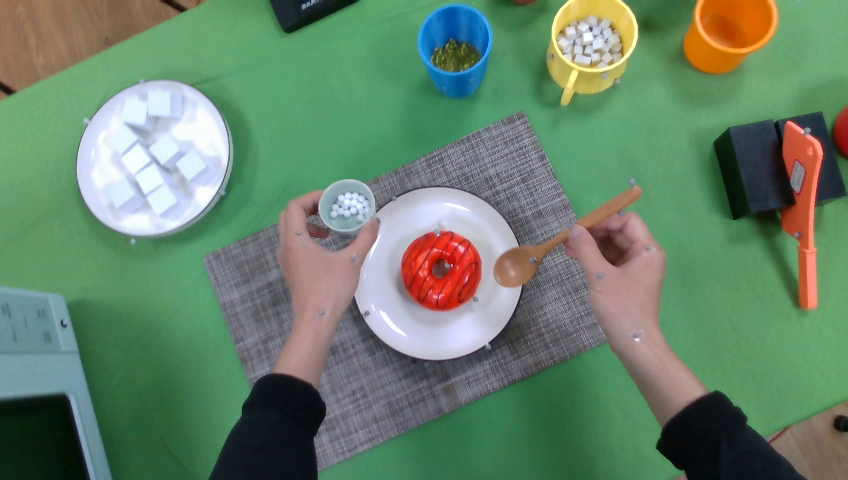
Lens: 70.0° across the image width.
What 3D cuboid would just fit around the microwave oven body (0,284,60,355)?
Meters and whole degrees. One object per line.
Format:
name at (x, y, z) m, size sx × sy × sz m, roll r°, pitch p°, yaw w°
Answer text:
microwave oven body at (-0.546, 0.301, 0.630) m, size 0.326 × 0.261 × 0.440 m, roll -22°, pitch 80°, yaw 2°

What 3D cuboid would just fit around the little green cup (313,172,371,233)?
little green cup at (-0.086, -0.039, 0.661) m, size 0.061 × 0.039 × 0.061 m, roll -2°, pitch 57°, yaw 4°

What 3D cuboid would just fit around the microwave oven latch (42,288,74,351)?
microwave oven latch at (-0.462, 0.100, 0.749) m, size 0.030 × 0.029 × 0.079 m, roll -20°, pitch 81°, yaw 2°

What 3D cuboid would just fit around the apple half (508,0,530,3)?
apple half at (0.109, -0.336, 0.758) m, size 0.053 × 0.075 × 0.080 m, roll -20°, pitch 83°, yaw 6°

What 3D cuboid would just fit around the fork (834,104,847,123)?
fork at (0.554, -0.129, 0.645) m, size 0.205 × 0.019 × 0.028 m, roll 19°, pitch 68°, yaw 51°

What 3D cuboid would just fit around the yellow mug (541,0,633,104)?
yellow mug at (0.190, -0.227, 0.737) m, size 0.100 × 0.064 × 0.130 m, roll 23°, pitch 85°, yaw 8°

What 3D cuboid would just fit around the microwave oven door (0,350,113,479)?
microwave oven door at (-0.397, 0.286, 0.612) m, size 0.039 × 0.245 × 0.354 m, roll -22°, pitch 79°, yaw 2°

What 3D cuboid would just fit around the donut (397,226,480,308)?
donut at (0.017, 0.032, 0.714) m, size 0.099 × 0.048 × 0.098 m, roll -1°, pitch 82°, yaw 7°

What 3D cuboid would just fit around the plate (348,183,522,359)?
plate at (0.014, 0.036, 0.726) m, size 0.209 × 0.038 × 0.208 m, roll -1°, pitch 81°, yaw 6°

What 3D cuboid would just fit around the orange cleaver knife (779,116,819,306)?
orange cleaver knife at (0.415, -0.030, 0.676) m, size 0.012 × 0.077 × 0.212 m, roll -10°, pitch 110°, yaw 7°

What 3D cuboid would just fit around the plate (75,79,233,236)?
plate at (-0.345, -0.105, 0.787) m, size 0.207 × 0.039 × 0.207 m, roll -1°, pitch 81°, yaw 6°

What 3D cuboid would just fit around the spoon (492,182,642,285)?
spoon at (0.133, -0.004, 0.593) m, size 0.022 × 0.194 × 0.041 m, roll -12°, pitch 73°, yaw -38°

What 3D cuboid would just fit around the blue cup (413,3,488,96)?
blue cup at (0.035, -0.221, 0.734) m, size 0.092 × 0.100 × 0.092 m, roll -1°, pitch 82°, yaw 5°
